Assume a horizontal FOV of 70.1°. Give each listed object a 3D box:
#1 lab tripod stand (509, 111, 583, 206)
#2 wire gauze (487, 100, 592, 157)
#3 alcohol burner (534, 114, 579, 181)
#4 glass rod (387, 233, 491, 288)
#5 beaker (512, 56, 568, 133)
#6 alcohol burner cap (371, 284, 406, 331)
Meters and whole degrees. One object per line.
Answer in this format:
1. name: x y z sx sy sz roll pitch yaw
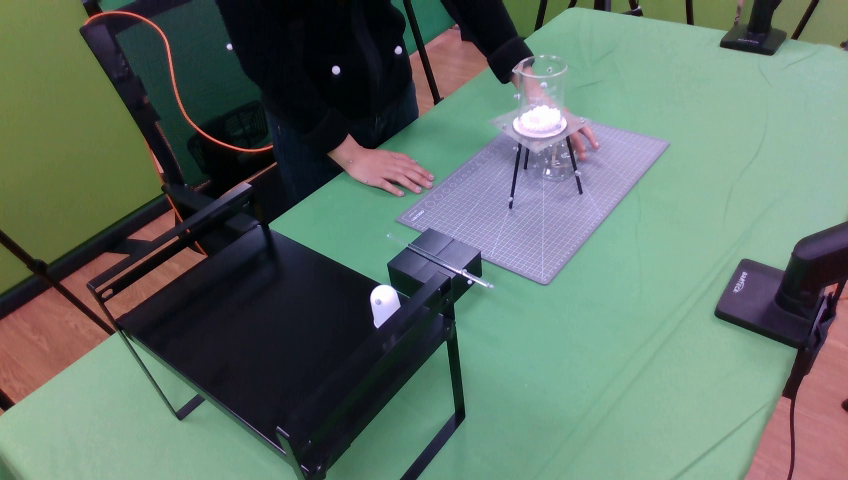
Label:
1. lab tripod stand: 0.198 -0.139 1.019 0.148 0.132 0.147 -3 39 3
2. wire gauze: 0.185 -0.187 0.974 0.122 0.011 0.124 -28 47 -22
3. alcohol burner: 0.232 -0.164 1.059 0.078 0.119 0.077 -5 38 4
4. glass rod: 0.017 0.027 0.877 0.198 0.008 0.008 26 51 34
5. beaker: 0.181 -0.225 0.946 0.084 0.101 0.074 2 41 12
6. alcohol burner cap: -0.037 0.065 0.608 0.034 0.048 0.033 -4 41 4
